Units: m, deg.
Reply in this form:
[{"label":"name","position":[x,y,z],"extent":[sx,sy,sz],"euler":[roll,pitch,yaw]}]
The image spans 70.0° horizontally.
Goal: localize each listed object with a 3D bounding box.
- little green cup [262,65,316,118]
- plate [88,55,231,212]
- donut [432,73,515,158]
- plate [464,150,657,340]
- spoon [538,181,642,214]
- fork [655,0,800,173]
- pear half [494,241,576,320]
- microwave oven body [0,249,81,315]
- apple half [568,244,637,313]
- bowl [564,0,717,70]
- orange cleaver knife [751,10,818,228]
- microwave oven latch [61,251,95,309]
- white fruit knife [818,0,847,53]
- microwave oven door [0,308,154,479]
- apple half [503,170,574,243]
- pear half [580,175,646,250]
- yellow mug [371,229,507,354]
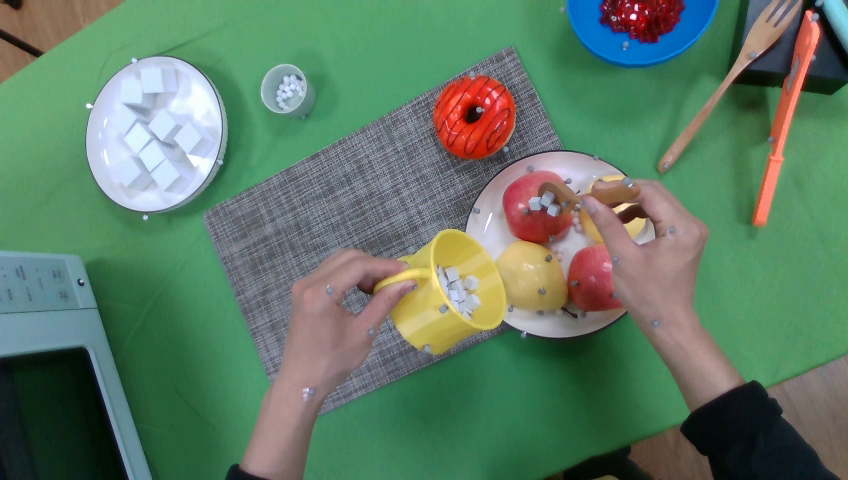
[{"label":"little green cup","position":[-0.168,-0.184,0.764],"extent":[0.061,0.039,0.061],"euler":[-1,87,14]},{"label":"plate","position":[-0.346,-0.138,0.805],"extent":[0.207,0.039,0.207],"euler":[-1,87,14]},{"label":"donut","position":[0.057,-0.143,0.701],"extent":[0.099,0.048,0.099],"euler":[0,89,16]},{"label":"plate","position":[0.148,0.005,0.675],"extent":[0.208,0.038,0.208],"euler":[-1,87,13]},{"label":"spoon","position":[0.143,-0.038,0.540],"extent":[0.021,0.193,0.042],"euler":[-36,97,-3]},{"label":"fork","position":[0.305,-0.155,0.623],"extent":[0.028,0.018,0.208],"euler":[33,115,5]},{"label":"pear half","position":[0.125,0.051,0.664],"extent":[0.109,0.056,0.076],"euler":[39,101,9]},{"label":"microwave oven body","position":[-0.559,0.269,0.718],"extent":[0.326,0.261,0.440],"euler":[-23,83,11]},{"label":"apple half","position":[0.184,0.042,0.647],"extent":[0.081,0.033,0.081],"euler":[1,92,36]},{"label":"bowl","position":[0.228,-0.248,0.651],"extent":[0.151,0.077,0.151],"euler":[-1,88,13]},{"label":"orange cleaver knife","position":[0.361,-0.118,0.611],"extent":[0.012,0.077,0.212],"euler":[11,116,19]},{"label":"microwave oven latch","position":[-0.467,0.055,0.805],"extent":[0.030,0.029,0.079],"euler":[-21,83,11]},{"label":"white fruit knife","position":[0.390,-0.253,0.594],"extent":[0.027,0.016,0.206],"euler":[-20,80,-17]},{"label":"microwave oven door","position":[-0.413,0.251,0.678],"extent":[0.039,0.245,0.354],"euler":[-24,82,11]},{"label":"apple half","position":[0.124,-0.037,0.665],"extent":[0.074,0.053,0.080],"euler":[-8,88,14]},{"label":"pear half","position":[0.198,-0.026,0.650],"extent":[0.070,0.031,0.088],"euler":[6,98,38]},{"label":"yellow mug","position":[0.009,0.045,0.546],"extent":[0.064,0.132,0.099],"euler":[-33,61,36]}]
